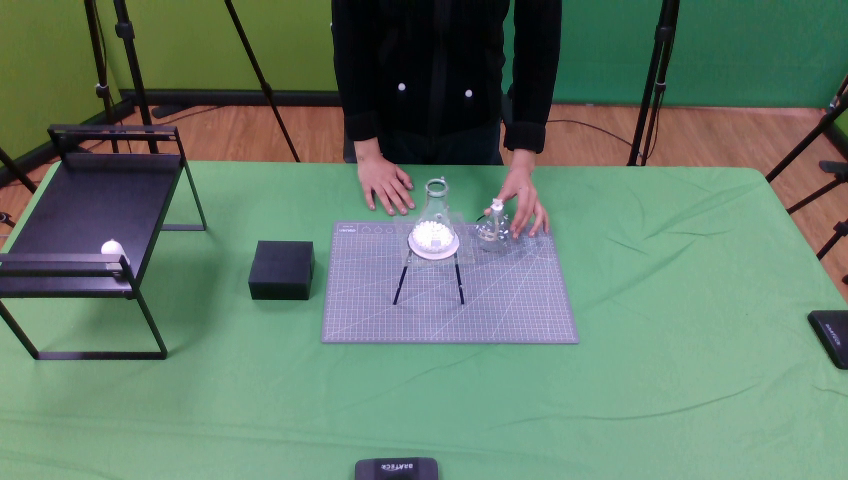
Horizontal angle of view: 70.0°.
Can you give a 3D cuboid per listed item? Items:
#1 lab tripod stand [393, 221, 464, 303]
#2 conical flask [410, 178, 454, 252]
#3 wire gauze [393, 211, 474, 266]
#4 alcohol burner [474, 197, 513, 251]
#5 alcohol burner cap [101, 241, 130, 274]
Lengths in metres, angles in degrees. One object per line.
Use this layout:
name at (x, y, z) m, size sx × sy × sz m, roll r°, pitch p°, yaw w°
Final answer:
lab tripod stand at (0.009, 0.045, 1.075) m, size 0.148 × 0.132 × 0.147 m, roll 2°, pitch 48°, yaw -2°
conical flask at (0.016, -0.043, 0.987) m, size 0.075 × 0.122 × 0.075 m, roll 2°, pitch 47°, yaw -2°
wire gauze at (0.015, -0.002, 1.029) m, size 0.125 × 0.011 × 0.120 m, roll -6°, pitch 45°, yaw -6°
alcohol burner at (0.137, -0.035, 1.176) m, size 0.078 × 0.120 × 0.077 m, roll 1°, pitch 46°, yaw -1°
alcohol burner cap at (-0.449, 0.022, 0.878) m, size 0.034 × 0.048 × 0.033 m, roll 2°, pitch 45°, yaw -2°
